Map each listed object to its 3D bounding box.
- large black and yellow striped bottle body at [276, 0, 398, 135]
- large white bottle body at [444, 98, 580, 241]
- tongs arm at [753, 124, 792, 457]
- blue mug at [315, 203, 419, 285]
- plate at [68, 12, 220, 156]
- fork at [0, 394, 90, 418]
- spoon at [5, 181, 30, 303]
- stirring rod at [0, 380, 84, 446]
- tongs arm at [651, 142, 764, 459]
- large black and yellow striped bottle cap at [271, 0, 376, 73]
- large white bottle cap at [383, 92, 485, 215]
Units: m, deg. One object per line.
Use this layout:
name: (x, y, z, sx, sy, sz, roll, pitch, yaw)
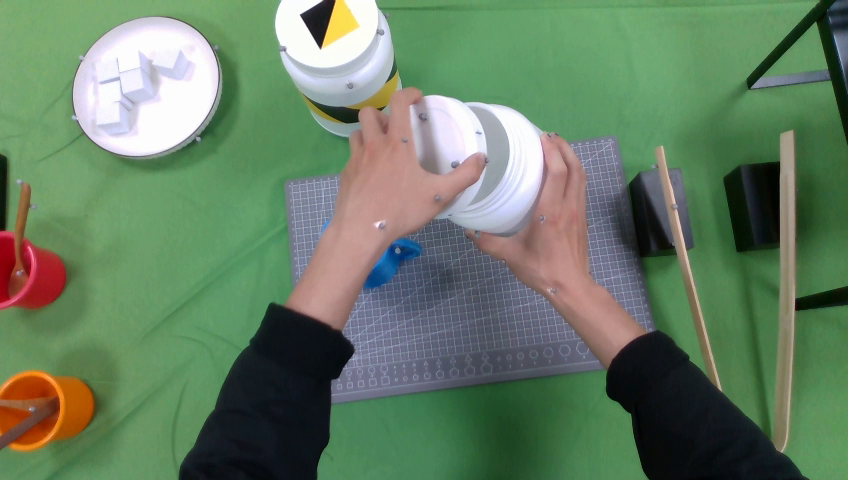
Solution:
large black and yellow striped bottle body: (-0.106, -0.222, 0.752, 0.131, 0.185, 0.130, -1, 78, 3)
large white bottle body: (0.080, -0.073, 0.656, 0.130, 0.186, 0.130, -4, 81, 31)
tongs arm: (0.413, 0.059, 0.711, 0.028, 0.027, 0.387, 2, 90, -5)
blue mug: (-0.064, 0.008, 0.742, 0.116, 0.106, 0.082, -1, 78, 3)
plate: (-0.381, -0.212, 0.839, 0.207, 0.039, 0.206, -1, 79, 3)
fork: (-0.507, 0.187, 0.710, 0.209, 0.018, 0.028, 20, 75, -37)
spoon: (-0.501, 0.007, 0.748, 0.041, 0.021, 0.194, 38, 127, 13)
stirring rod: (-0.479, 0.222, 0.708, 0.014, 0.006, 0.176, 39, 41, 7)
tongs arm: (0.331, 0.070, 0.711, 0.051, 0.026, 0.384, -12, 90, -2)
large black and yellow striped bottle cap: (-0.111, -0.241, 0.670, 0.115, 0.019, 0.114, 0, 80, 2)
large white bottle cap: (0.006, -0.080, 0.566, 0.114, 0.018, 0.115, 1, 93, 41)
